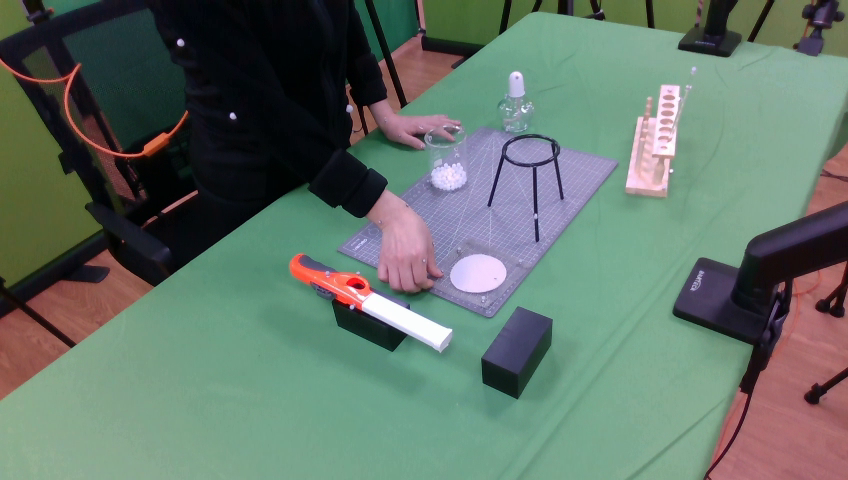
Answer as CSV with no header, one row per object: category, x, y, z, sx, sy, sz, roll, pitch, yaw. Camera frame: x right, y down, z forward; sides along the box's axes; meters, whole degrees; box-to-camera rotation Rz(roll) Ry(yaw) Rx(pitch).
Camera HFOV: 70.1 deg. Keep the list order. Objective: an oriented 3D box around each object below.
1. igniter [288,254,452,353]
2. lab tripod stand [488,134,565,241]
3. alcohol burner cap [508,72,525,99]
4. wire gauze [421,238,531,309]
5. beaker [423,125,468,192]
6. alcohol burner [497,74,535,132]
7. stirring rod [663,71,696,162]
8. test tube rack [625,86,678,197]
igniter,-0.083,0.080,0.818,0.274,0.025,0.057,23,46,27
lab tripod stand,0.168,-0.092,0.972,0.148,0.132,0.147,-5,41,5
alcohol burner cap,0.181,-0.306,1.186,0.034,0.048,0.033,-7,39,6
wire gauze,0.079,0.050,0.914,0.120,0.011,0.125,23,49,34
beaker,0.043,-0.144,1.078,0.073,0.100,0.084,28,51,34
alcohol burner,0.184,-0.278,1.210,0.078,0.119,0.077,-3,42,3
stirring rod,0.410,-0.195,0.981,0.014,0.177,0.006,12,50,14
test tube rack,0.412,-0.184,1.088,0.066,0.085,0.242,9,43,18
